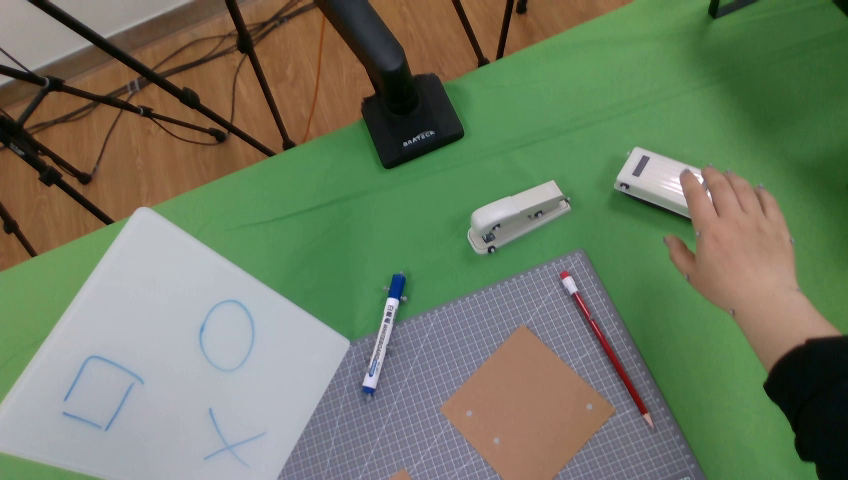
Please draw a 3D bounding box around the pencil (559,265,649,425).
[{"bbox_3d":[0.195,0.110,0.660,0.012,0.012,0.192,-25,66,1],"label":"pencil"}]

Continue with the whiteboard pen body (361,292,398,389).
[{"bbox_3d":[-0.049,0.105,0.712,0.017,0.017,0.140,8,68,16],"label":"whiteboard pen body"}]

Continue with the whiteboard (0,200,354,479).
[{"bbox_3d":[-0.258,0.119,0.626,0.142,0.309,0.216,16,70,41],"label":"whiteboard"}]

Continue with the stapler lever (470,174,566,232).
[{"bbox_3d":[0.110,-0.045,0.717,0.118,0.040,0.026,-28,66,-1],"label":"stapler lever"}]

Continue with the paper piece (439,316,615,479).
[{"bbox_3d":[0.107,0.176,0.652,0.136,0.009,0.137,-44,67,-4],"label":"paper piece"}]

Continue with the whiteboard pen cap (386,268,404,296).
[{"bbox_3d":[-0.035,0.052,0.732,0.018,0.018,0.033,6,67,15],"label":"whiteboard pen cap"}]

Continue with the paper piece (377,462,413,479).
[{"bbox_3d":[-0.040,0.323,0.618,0.135,0.004,0.134,-36,65,-5],"label":"paper piece"}]

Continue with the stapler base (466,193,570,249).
[{"bbox_3d":[0.113,-0.035,0.738,0.130,0.024,0.041,-27,66,-3],"label":"stapler base"}]

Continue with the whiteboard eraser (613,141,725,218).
[{"bbox_3d":[0.284,-0.069,0.705,0.112,0.042,0.055,26,76,21],"label":"whiteboard eraser"}]
